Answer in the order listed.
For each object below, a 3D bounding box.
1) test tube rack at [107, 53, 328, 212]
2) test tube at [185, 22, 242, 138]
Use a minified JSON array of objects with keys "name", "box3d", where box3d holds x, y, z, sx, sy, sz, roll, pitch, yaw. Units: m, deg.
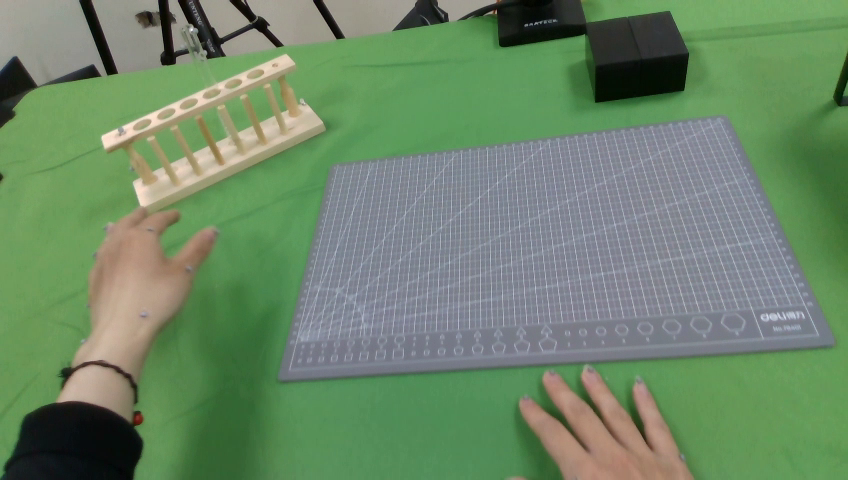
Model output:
[{"name":"test tube rack","box3d":[-0.251,-0.136,0.754,0.242,0.086,0.066,-28,47,-13]},{"name":"test tube","box3d":[-0.253,-0.190,0.735,0.017,0.152,0.017,-6,42,6]}]
